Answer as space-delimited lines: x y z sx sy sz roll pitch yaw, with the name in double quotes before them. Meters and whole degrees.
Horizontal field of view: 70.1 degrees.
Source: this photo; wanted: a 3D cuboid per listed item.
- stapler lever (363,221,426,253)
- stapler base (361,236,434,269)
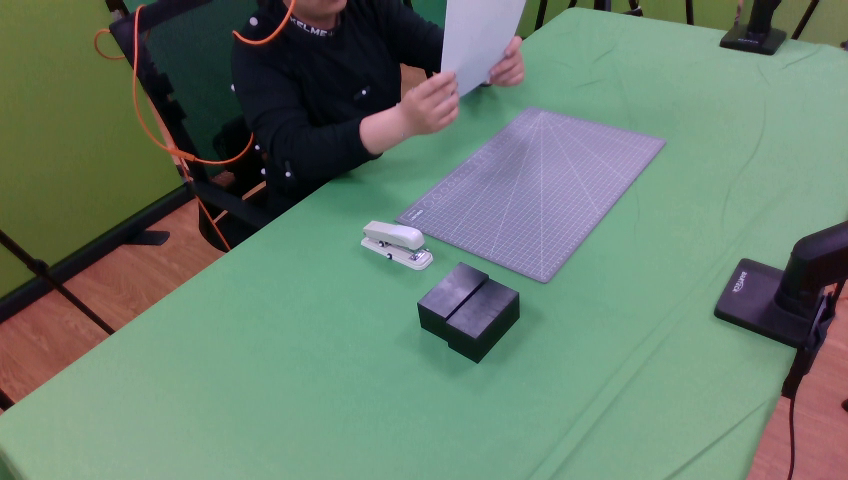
"stapler lever" -0.049 -0.011 0.958 0.117 0.040 0.027 21 46 32
"stapler base" -0.044 0.009 0.974 0.129 0.024 0.041 21 46 32
